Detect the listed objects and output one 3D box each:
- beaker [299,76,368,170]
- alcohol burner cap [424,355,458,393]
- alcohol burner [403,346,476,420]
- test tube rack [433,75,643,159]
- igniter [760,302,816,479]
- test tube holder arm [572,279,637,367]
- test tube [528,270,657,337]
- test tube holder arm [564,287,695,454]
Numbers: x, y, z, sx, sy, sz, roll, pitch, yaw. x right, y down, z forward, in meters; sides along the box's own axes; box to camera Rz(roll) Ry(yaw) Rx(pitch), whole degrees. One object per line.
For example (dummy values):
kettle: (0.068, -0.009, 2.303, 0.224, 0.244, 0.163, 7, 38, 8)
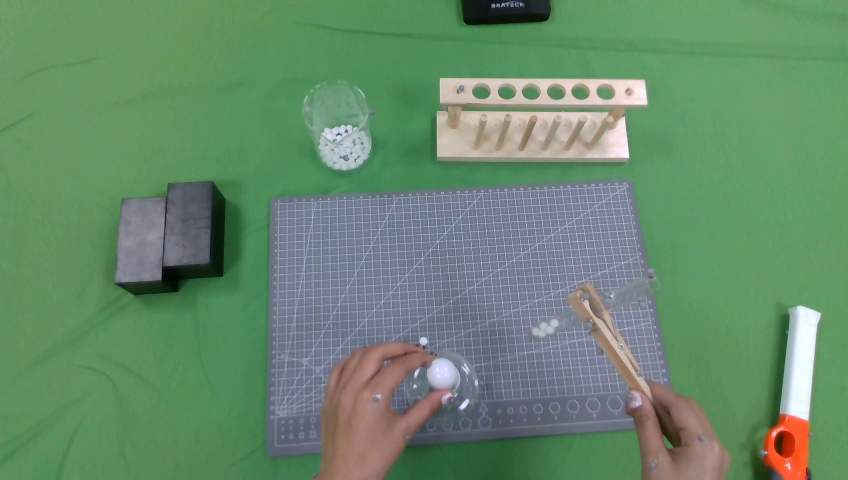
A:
beaker: (-0.103, -0.132, 0.720, 0.074, 0.101, 0.083, -1, 72, -2)
alcohol burner cap: (0.015, 0.125, 0.570, 0.034, 0.048, 0.033, -2, 70, 6)
alcohol burner: (0.017, 0.145, 0.622, 0.078, 0.120, 0.077, 1, 70, -3)
test tube rack: (0.134, -0.148, 0.742, 0.242, 0.085, 0.066, 0, 72, -2)
igniter: (0.400, 0.201, 0.666, 0.057, 0.025, 0.275, 20, 72, -6)
test tube holder arm: (0.156, 0.074, 0.521, 0.010, 0.015, 0.088, -30, 90, -38)
test tube: (0.138, 0.058, 0.521, 0.017, 0.150, 0.017, 13, 61, -25)
test tube holder arm: (0.177, 0.114, 0.520, 0.013, 0.015, 0.178, -39, 96, -37)
